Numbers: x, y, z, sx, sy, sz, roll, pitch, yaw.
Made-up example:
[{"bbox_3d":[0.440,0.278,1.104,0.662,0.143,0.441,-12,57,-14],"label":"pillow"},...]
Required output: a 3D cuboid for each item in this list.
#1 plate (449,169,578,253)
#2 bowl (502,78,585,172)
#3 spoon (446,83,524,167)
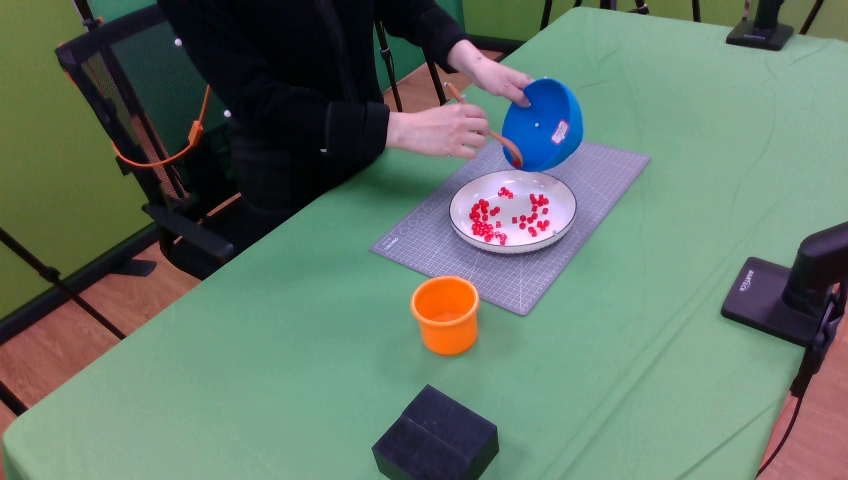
[{"bbox_3d":[0.146,-0.044,0.993,0.209,0.038,0.208,-5,40,5],"label":"plate"},{"bbox_3d":[0.206,-0.178,0.982,0.077,0.151,0.150,9,28,-36],"label":"bowl"},{"bbox_3d":[0.097,-0.174,0.929,0.021,0.195,0.041,-47,34,13],"label":"spoon"}]
